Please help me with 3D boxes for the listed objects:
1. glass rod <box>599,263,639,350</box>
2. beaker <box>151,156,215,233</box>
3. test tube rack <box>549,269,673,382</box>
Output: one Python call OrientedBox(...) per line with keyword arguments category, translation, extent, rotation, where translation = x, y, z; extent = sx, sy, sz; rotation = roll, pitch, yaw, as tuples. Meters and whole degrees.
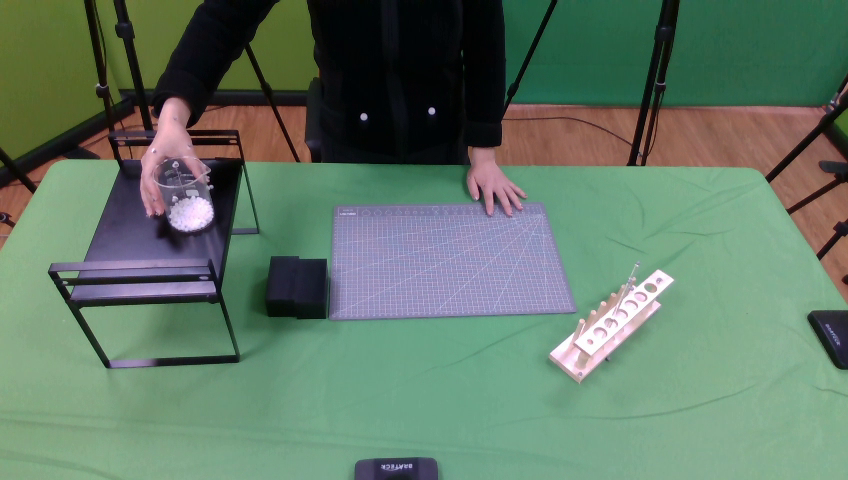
OrientedBox(category="glass rod", translation=(0.311, 0.112, 0.976), extent=(0.008, 0.200, 0.008), rotation=(4, 40, -3))
OrientedBox(category="beaker", translation=(-0.364, -0.068, 0.933), extent=(0.084, 0.101, 0.073), rotation=(-11, 48, -15))
OrientedBox(category="test tube rack", translation=(0.325, 0.134, 1.047), extent=(0.242, 0.085, 0.066), rotation=(-32, 56, -30))
